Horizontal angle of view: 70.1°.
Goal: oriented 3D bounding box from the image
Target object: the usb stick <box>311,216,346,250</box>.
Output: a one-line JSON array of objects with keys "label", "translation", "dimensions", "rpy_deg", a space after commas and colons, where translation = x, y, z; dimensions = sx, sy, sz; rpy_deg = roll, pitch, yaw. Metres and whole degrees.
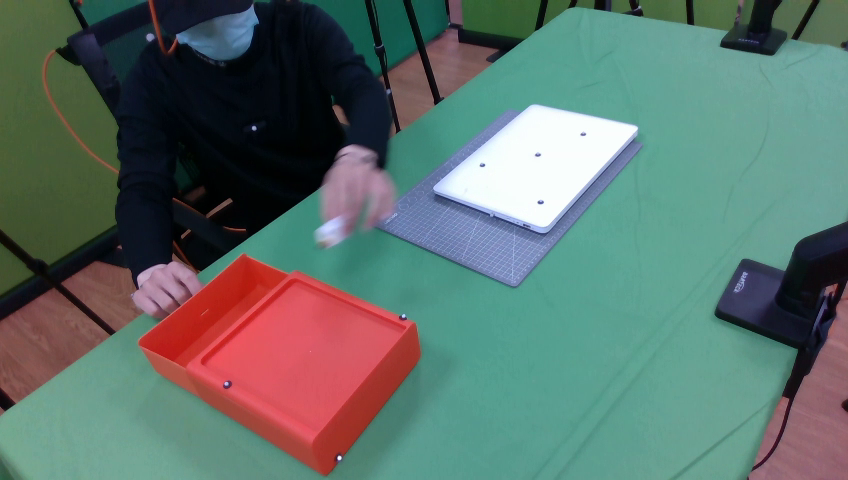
[{"label": "usb stick", "translation": [-0.130, -0.008, 0.807], "dimensions": [0.021, 0.027, 0.059], "rpy_deg": [11, 36, 25]}]

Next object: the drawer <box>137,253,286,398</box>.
[{"label": "drawer", "translation": [-0.230, 0.128, 0.812], "dimensions": [0.210, 0.073, 0.195], "rpy_deg": [19, 46, 27]}]

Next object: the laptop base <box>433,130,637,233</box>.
[{"label": "laptop base", "translation": [0.210, -0.142, 1.111], "dimensions": [0.233, 0.023, 0.355], "rpy_deg": [21, 47, 34]}]

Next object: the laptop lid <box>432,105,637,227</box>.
[{"label": "laptop lid", "translation": [0.207, -0.152, 1.105], "dimensions": [0.239, 0.013, 0.358], "rpy_deg": [23, 49, 34]}]

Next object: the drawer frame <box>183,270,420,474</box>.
[{"label": "drawer frame", "translation": [-0.149, 0.153, 0.767], "dimensions": [0.212, 0.083, 0.202], "rpy_deg": [20, 46, 27]}]
